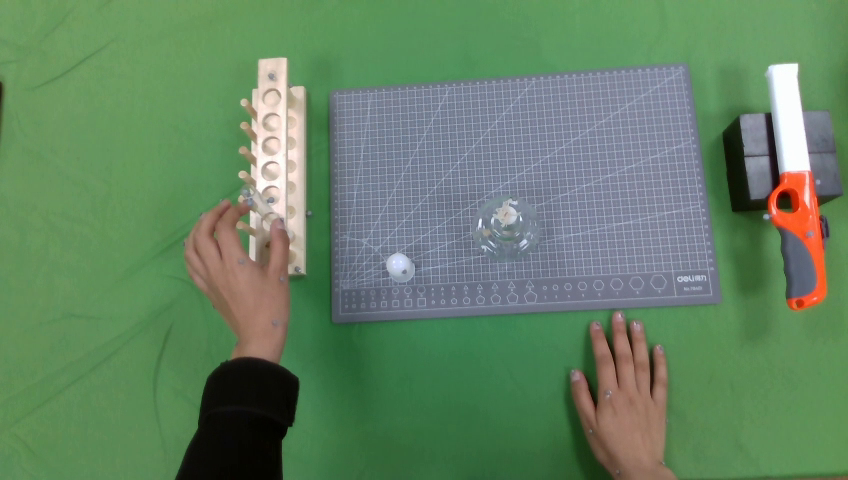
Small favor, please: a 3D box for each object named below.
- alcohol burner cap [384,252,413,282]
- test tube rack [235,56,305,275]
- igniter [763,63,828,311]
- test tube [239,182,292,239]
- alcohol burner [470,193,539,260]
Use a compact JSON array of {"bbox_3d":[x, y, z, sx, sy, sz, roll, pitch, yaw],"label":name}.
[{"bbox_3d":[-0.031,0.029,0.704,0.034,0.048,0.033,-1,77,4],"label":"alcohol burner cap"},{"bbox_3d":[-0.185,-0.085,0.719,0.067,0.085,0.241,-3,78,4],"label":"test tube rack"},{"bbox_3d":[0.399,-0.061,0.656,0.057,0.025,0.275,-1,78,10],"label":"igniter"},{"bbox_3d":[-0.168,-0.029,0.656,0.017,0.151,0.017,-1,73,2],"label":"test tube"},{"bbox_3d":[0.090,-0.018,0.669,0.078,0.119,0.077,-1,79,5],"label":"alcohol burner"}]
